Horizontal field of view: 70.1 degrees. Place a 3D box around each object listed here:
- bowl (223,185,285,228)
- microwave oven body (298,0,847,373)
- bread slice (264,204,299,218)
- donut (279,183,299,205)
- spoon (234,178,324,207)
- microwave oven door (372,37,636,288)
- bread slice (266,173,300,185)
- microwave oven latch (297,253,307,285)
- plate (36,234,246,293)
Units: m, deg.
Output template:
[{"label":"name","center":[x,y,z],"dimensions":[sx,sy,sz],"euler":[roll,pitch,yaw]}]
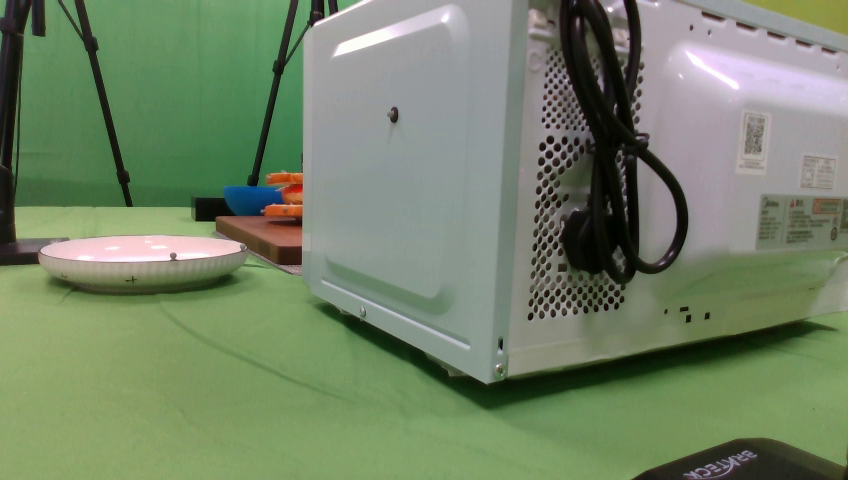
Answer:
[{"label":"bowl","center":[-0.330,-0.068,1.230],"dimensions":[0.151,0.077,0.151],"euler":[3,8,0]},{"label":"microwave oven body","center":[0.151,-0.055,0.542],"dimensions":[0.444,0.260,0.324],"euler":[-2,7,-33]},{"label":"bread slice","center":[-0.208,-0.049,1.047],"dimensions":[0.132,0.019,0.104],"euler":[1,-1,-26]},{"label":"donut","center":[-0.201,-0.077,1.051],"dimensions":[0.099,0.048,0.099],"euler":[2,10,0]},{"label":"spoon","center":[-0.300,-0.103,1.266],"dimensions":[0.194,0.021,0.041],"euler":[-24,10,-24]},{"label":"microwave oven door","center":[0.109,-0.080,0.686],"dimensions":[0.358,0.243,0.039],"euler":[-2,9,-33]},{"label":"bread slice","center":[-0.205,-0.106,1.051],"dimensions":[0.135,0.018,0.106],"euler":[-3,3,-29]},{"label":"microwave oven latch","center":[-0.082,0.027,0.582],"dimensions":[0.079,0.029,0.030],"euler":[-1,7,-32]},{"label":"plate","center":[-0.305,0.026,0.668],"dimensions":[0.208,0.039,0.207],"euler":[3,7,0]}]
